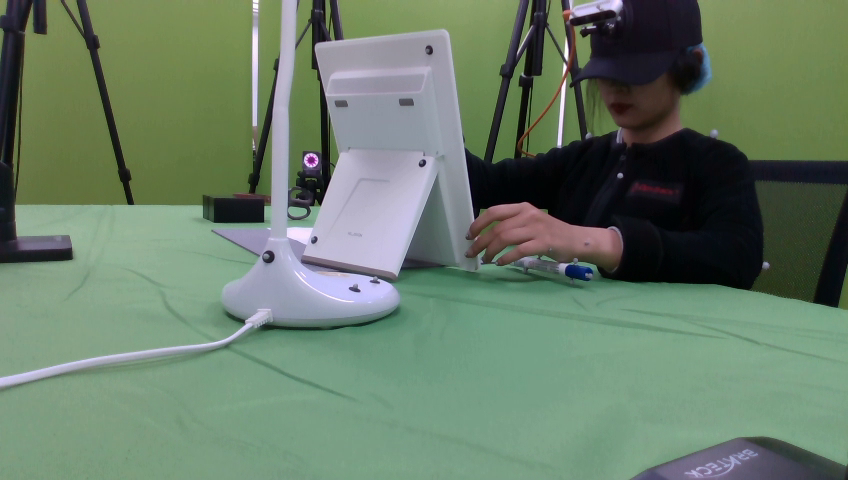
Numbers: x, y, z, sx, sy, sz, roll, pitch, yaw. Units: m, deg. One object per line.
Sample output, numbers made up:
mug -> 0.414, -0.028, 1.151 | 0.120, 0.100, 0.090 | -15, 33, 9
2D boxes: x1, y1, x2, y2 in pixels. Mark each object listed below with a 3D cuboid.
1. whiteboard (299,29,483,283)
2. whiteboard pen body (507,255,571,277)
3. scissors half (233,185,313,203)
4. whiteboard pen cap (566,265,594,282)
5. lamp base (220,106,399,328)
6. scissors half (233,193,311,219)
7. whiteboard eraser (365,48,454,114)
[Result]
whiteboard -> -0.074, -0.082, 0.742 | 0.216, 0.305, 0.144 | 9, 29, 38
whiteboard pen body -> 0.156, 0.034, 0.773 | 0.017, 0.017, 0.140 | -2, 7, -32
scissors half -> -0.326, -0.097, 1.315 | 0.176, 0.040, 0.012 | -5, 19, -29
whiteboard pen cap -> 0.185, 0.040, 0.722 | 0.018, 0.018, 0.033 | -2, 6, -33
lamp base -> -0.101, -0.023, 0.531 | 0.160, 0.180, 0.179 | 4, 10, 10
scissors half -> -0.330, -0.078, 1.320 | 0.176, 0.040, 0.013 | 16, 3, -32
whiteboard eraser -> -0.021, -0.203, 0.777 | 0.112, 0.055, 0.042 | -11, 16, 31
